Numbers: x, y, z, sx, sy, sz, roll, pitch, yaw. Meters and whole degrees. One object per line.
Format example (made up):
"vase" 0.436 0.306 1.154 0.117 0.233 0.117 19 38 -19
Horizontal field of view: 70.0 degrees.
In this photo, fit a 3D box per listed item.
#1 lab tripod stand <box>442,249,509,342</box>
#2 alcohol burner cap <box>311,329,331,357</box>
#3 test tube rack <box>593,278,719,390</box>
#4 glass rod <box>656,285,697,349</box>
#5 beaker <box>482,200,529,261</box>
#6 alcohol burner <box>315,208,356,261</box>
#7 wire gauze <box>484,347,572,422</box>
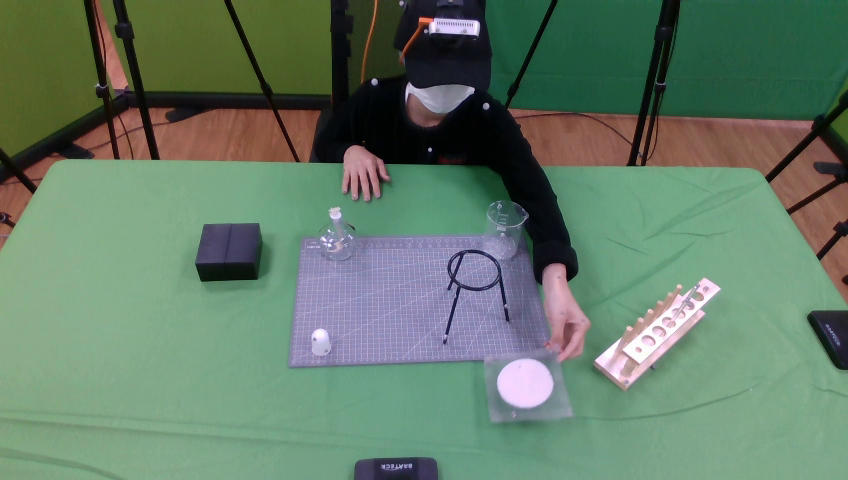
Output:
"lab tripod stand" 0.082 0.091 1.036 0.148 0.132 0.147 3 44 -3
"alcohol burner cap" -0.173 0.168 1.005 0.034 0.048 0.033 2 46 -2
"test tube rack" 0.401 0.148 1.043 0.242 0.085 0.066 -30 55 -29
"glass rod" 0.401 0.128 0.971 0.008 0.201 0.008 0 53 1
"beaker" 0.153 -0.015 1.169 0.084 0.101 0.073 -2 46 -7
"alcohol burner" -0.166 -0.017 1.135 0.078 0.120 0.077 2 48 -2
"wire gauze" 0.159 0.226 0.948 0.125 0.011 0.120 -7 47 7
